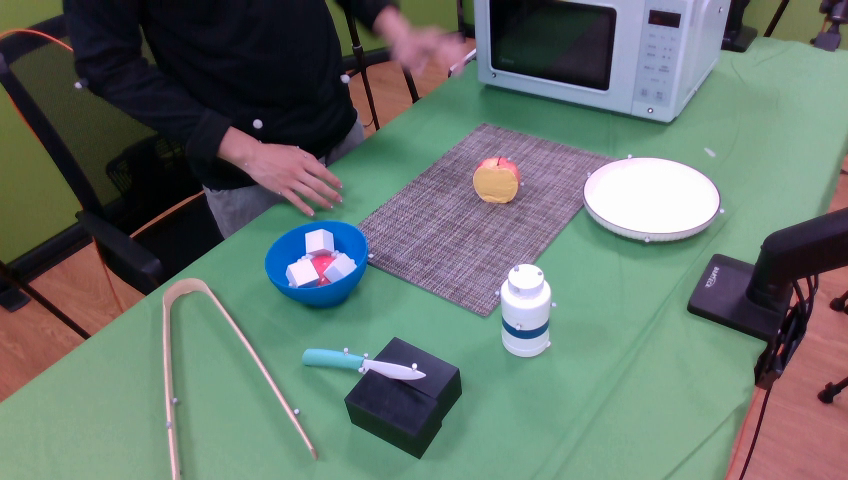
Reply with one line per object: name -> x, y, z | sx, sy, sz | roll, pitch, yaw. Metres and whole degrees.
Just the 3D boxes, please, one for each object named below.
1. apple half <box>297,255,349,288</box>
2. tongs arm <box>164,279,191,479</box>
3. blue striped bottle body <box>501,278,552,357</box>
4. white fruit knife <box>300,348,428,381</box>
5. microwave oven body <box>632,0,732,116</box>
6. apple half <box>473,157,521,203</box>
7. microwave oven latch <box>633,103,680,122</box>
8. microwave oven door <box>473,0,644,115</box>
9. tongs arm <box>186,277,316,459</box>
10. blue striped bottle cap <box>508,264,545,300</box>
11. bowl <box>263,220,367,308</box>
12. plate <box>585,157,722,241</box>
apple half -> -0.154, 0.044, 0.889 | 0.081, 0.033, 0.081 | -2, 40, 2
tongs arm -> -0.313, 0.182, 0.789 | 0.051, 0.026, 0.381 | -19, 41, -14
blue striped bottle body -> 0.130, 0.088, 0.769 | 0.063, 0.121, 0.063 | -4, 41, 4
white fruit knife -> -0.079, 0.154, 0.748 | 0.206, 0.027, 0.016 | 1, 20, 34
microwave oven body -> 0.377, -0.463, 1.267 | 0.438, 0.261, 0.327 | 21, 48, 30
apple half -> 0.127, -0.106, 1.030 | 0.080, 0.075, 0.053 | 4, 36, 19
microwave oven latch -> 0.444, -0.249, 1.157 | 0.078, 0.029, 0.030 | 20, 48, 29
microwave oven door -> 0.257, -0.396, 1.199 | 0.353, 0.245, 0.039 | 21, 48, 29
tongs arm -> -0.241, 0.154, 0.816 | 0.028, 0.028, 0.384 | -31, 46, -21
blue striped bottle cap -> 0.125, 0.051, 0.735 | 0.044, 0.021, 0.044 | -5, 39, 5
bowl -> -0.152, 0.047, 0.892 | 0.151, 0.077, 0.150 | -4, 40, 4
plate -> 0.367, -0.063, 0.979 | 0.207, 0.039, 0.206 | -4, 40, 4
